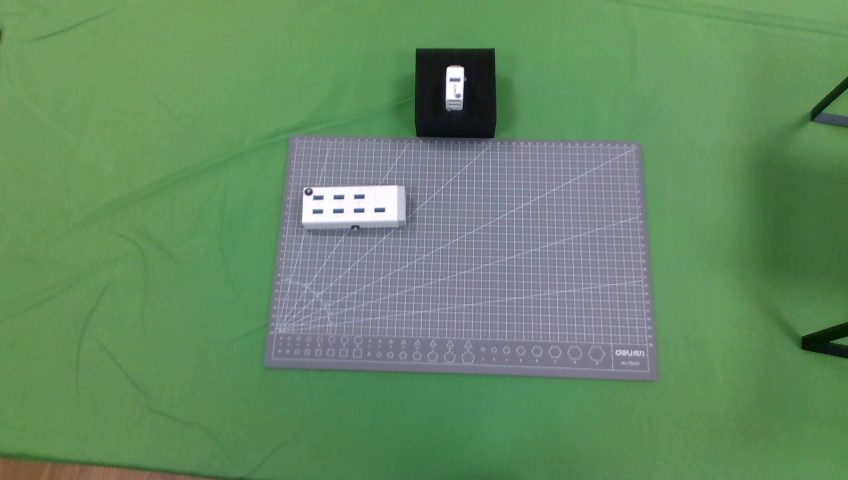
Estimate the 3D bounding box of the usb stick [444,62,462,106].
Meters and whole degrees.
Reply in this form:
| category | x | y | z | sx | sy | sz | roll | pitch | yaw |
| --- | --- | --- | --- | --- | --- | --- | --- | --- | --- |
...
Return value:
| category | x | y | z | sx | sy | sz | roll | pitch | yaw |
| --- | --- | --- | --- | --- | --- | --- | --- | --- | --- |
| usb stick | 0.036 | -0.194 | 0.735 | 0.021 | 0.027 | 0.059 | 1 | 70 | 4 |

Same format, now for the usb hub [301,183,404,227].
| category | x | y | z | sx | sy | sz | roll | pitch | yaw |
| --- | --- | --- | --- | --- | --- | --- | --- | --- | --- |
| usb hub | -0.087 | -0.044 | 0.741 | 0.125 | 0.025 | 0.049 | -1 | 73 | 0 |
